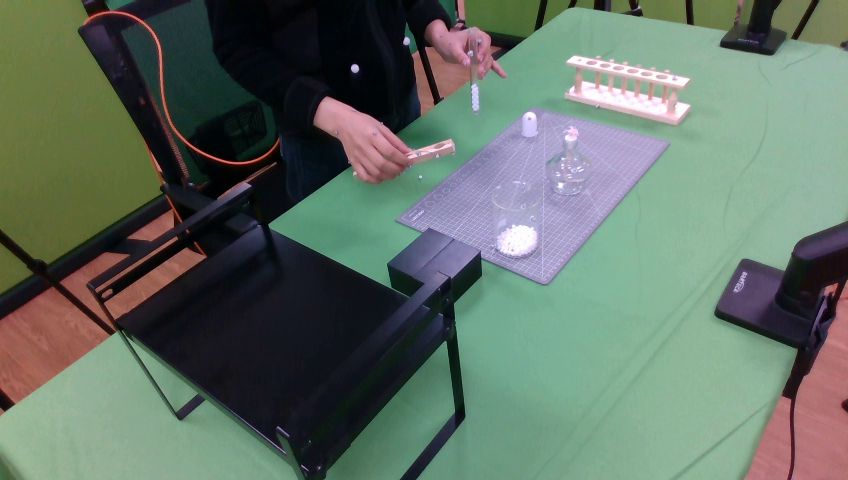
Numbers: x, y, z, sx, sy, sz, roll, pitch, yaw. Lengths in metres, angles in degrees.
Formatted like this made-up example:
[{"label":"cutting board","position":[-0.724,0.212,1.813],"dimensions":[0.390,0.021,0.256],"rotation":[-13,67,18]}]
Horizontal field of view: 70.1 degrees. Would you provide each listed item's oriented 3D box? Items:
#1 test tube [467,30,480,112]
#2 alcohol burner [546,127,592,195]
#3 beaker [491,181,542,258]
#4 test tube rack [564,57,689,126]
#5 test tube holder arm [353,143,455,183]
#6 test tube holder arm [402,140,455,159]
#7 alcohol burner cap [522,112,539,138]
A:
[{"label":"test tube","position":[0.090,-0.301,1.087],"dimensions":[0.017,0.151,0.017],"rotation":[-4,35,4]},{"label":"alcohol burner","position":[0.246,-0.137,1.023],"dimensions":[0.078,0.119,0.077],"rotation":[-4,38,4]},{"label":"beaker","position":[0.144,-0.030,0.925],"dimensions":[0.073,0.100,0.084],"rotation":[23,48,31]},{"label":"test tube rack","position":[0.411,-0.311,1.230],"dimensions":[0.240,0.085,0.067],"rotation":[23,50,32]},{"label":"test tube holder arm","position":[-0.035,-0.122,0.964],"dimensions":[0.178,0.015,0.013],"rotation":[-16,40,20]},{"label":"test tube holder arm","position":[0.006,-0.138,0.952],"dimensions":[0.087,0.015,0.010],"rotation":[-16,41,20]},{"label":"alcohol burner cap","position":[0.210,-0.230,1.195],"dimensions":[0.034,0.048,0.033],"rotation":[-6,41,5]}]
